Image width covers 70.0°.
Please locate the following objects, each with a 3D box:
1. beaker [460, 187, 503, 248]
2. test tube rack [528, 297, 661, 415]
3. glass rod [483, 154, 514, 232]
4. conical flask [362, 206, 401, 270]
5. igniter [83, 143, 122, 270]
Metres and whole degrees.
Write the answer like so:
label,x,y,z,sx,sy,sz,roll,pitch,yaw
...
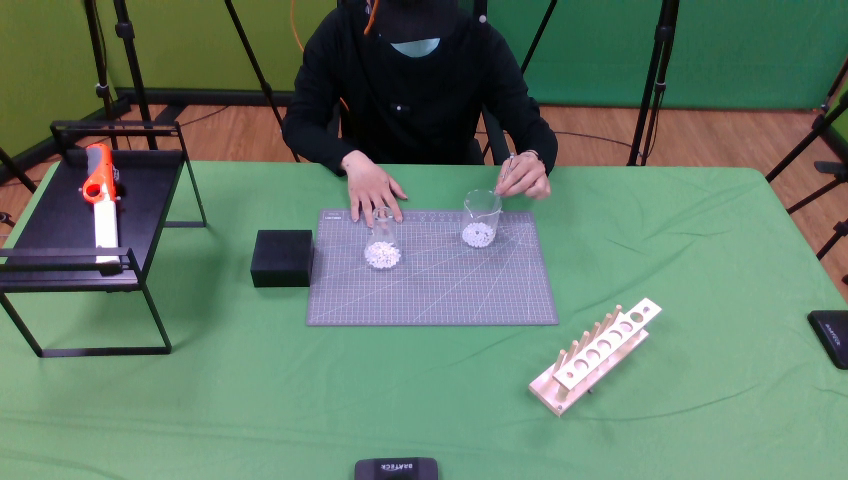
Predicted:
label,x,y,z,sx,sy,sz,roll,pitch,yaw
beaker,0.109,-0.039,1.186,0.074,0.101,0.083,19,49,14
test tube rack,0.285,0.178,1.005,0.242,0.085,0.066,-31,55,-29
glass rod,0.141,-0.085,1.159,0.008,0.200,0.008,8,46,-8
conical flask,-0.078,-0.008,1.126,0.075,0.122,0.075,2,46,-2
igniter,-0.508,-0.063,0.962,0.057,0.025,0.274,-14,53,-18
